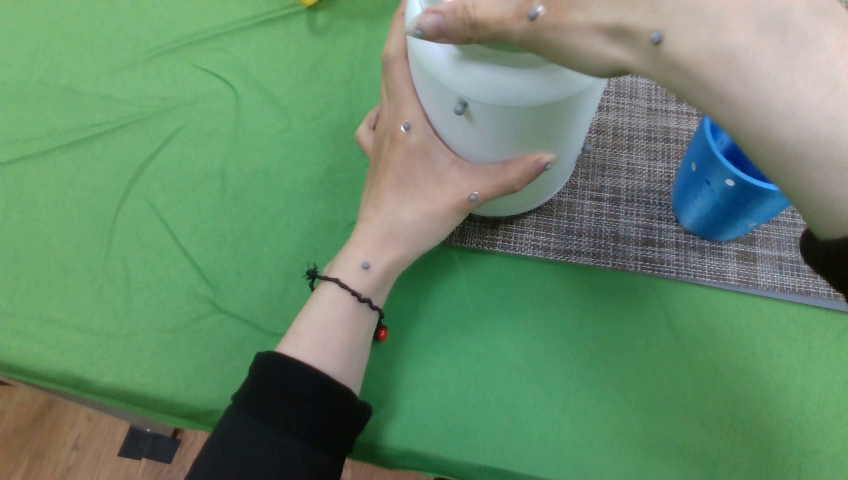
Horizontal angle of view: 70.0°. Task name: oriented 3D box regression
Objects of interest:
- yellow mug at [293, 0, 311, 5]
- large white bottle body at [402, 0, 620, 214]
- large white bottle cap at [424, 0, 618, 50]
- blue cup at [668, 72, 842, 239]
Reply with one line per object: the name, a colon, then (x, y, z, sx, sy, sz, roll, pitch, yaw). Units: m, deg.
yellow mug: (-0.090, -0.268, 0.543, 0.099, 0.064, 0.130, 20, 68, 9)
large white bottle body: (0.051, -0.114, 0.402, 0.130, 0.186, 0.129, 0, 65, 0)
large white bottle cap: (0.051, -0.152, 0.323, 0.115, 0.018, 0.114, 0, 66, 0)
blue cup: (0.214, -0.048, 0.418, 0.092, 0.101, 0.092, -1, 65, 2)
